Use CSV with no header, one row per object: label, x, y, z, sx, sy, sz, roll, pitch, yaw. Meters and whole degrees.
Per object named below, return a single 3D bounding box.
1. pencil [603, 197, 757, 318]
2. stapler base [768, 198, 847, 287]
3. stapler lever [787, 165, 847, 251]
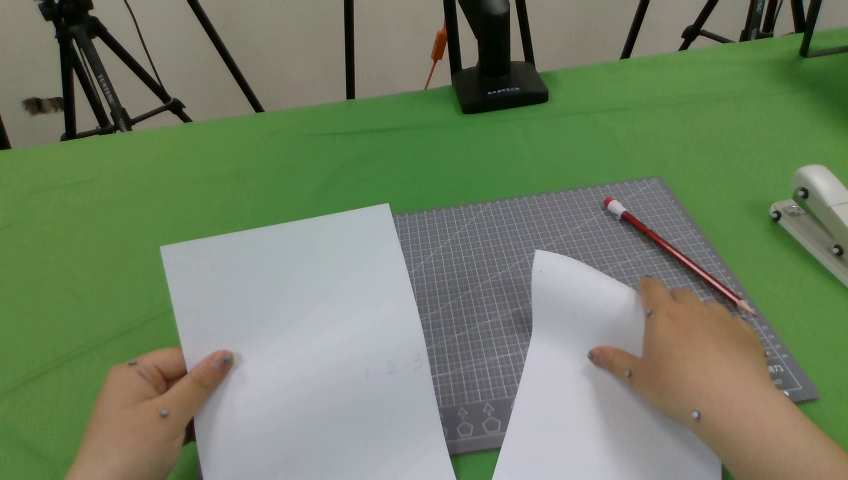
pencil,0.228,0.011,0.556,0.012,0.012,0.192,-21,41,-15
stapler base,0.366,-0.004,0.547,0.041,0.025,0.129,-13,41,-3
stapler lever,0.364,-0.023,0.529,0.027,0.040,0.116,-14,41,-3
